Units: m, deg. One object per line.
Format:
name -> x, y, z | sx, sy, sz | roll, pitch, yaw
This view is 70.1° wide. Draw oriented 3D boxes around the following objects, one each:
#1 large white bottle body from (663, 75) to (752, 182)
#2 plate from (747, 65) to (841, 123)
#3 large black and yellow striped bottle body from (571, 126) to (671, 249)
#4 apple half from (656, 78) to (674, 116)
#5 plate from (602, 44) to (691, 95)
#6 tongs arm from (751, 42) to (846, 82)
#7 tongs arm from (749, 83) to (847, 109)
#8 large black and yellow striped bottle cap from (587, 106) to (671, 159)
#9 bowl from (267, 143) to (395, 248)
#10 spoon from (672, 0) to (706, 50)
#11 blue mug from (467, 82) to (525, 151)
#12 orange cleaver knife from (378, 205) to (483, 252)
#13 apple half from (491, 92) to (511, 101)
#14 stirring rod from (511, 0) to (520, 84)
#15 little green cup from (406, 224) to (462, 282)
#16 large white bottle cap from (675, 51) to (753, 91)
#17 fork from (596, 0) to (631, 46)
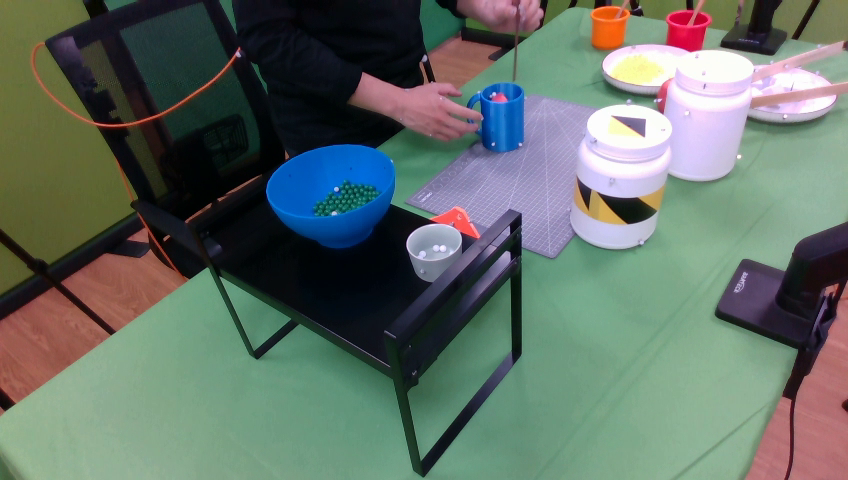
large white bottle body -> 0.472, -0.207, 1.022 | 0.130, 0.185, 0.130 | -4, 41, 4
plate -> 0.695, -0.282, 1.189 | 0.207, 0.039, 0.206 | -4, 40, 4
large black and yellow striped bottle body -> 0.296, -0.093, 0.915 | 0.131, 0.185, 0.130 | -3, 42, 3
apple half -> 0.488, -0.281, 1.192 | 0.053, 0.075, 0.081 | 24, 54, 37
plate -> 0.494, -0.367, 1.317 | 0.209, 0.038, 0.208 | -4, 40, 4
tongs arm -> 0.708, -0.331, 1.193 | 0.386, 0.026, 0.050 | -18, 45, -16
tongs arm -> 0.734, -0.280, 1.133 | 0.388, 0.028, 0.028 | -9, 47, -5
large black and yellow striped bottle cap -> 0.290, -0.154, 0.858 | 0.115, 0.019, 0.114 | -4, 42, 4
bowl -> -0.104, -0.043, 0.726 | 0.151, 0.077, 0.150 | -4, 40, 4
spoon -> 0.629, -0.520, 1.394 | 0.041, 0.022, 0.193 | 29, 97, 34
blue mug -> 0.138, -0.241, 1.169 | 0.116, 0.106, 0.082 | 11, 44, 21
orange cleaver knife -> 0.005, -0.010, 0.944 | 0.210, 0.077, 0.012 | -5, 23, 47
apple half -> 0.144, -0.240, 1.154 | 0.033, 0.081, 0.080 | -15, 40, -22
stirring rod -> 0.165, -0.367, 1.085 | 0.006, 0.176, 0.014 | 2, 34, 4
little green cup -> 0.012, 0.015, 0.668 | 0.061, 0.039, 0.061 | -4, 40, 4
large white bottle cap -> 0.463, -0.271, 0.967 | 0.115, 0.018, 0.114 | -4, 40, 3
fork -> 0.481, -0.555, 1.452 | 0.028, 0.019, 0.207 | 41, 104, 40
